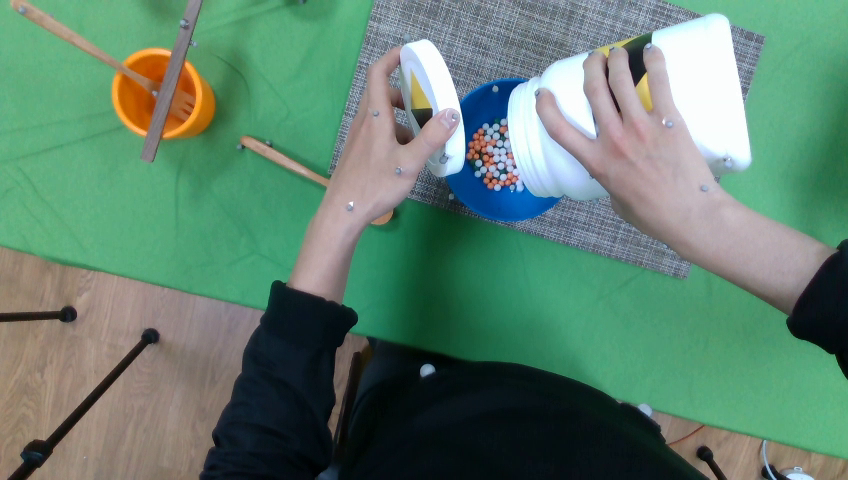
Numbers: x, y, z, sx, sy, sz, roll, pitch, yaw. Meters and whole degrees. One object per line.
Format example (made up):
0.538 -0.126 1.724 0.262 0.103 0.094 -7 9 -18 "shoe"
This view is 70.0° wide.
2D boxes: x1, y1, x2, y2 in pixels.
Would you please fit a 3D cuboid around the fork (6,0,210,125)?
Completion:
-0.307 -0.177 0.609 0.028 0.018 0.209 -53 139 4 "fork"

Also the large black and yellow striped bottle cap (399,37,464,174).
0.004 -0.114 0.520 0.019 0.114 0.115 -17 96 -13 "large black and yellow striped bottle cap"

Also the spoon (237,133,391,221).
-0.125 -0.077 0.694 0.194 0.021 0.042 27 108 -6 "spoon"

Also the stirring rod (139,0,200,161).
-0.256 -0.165 0.610 0.014 0.006 0.176 18 95 -7 "stirring rod"

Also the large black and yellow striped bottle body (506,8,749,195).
0.177 -0.112 0.535 0.183 0.131 0.131 -10 97 28 "large black and yellow striped bottle body"

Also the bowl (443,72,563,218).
0.087 -0.101 0.672 0.151 0.076 0.151 0 96 -3 "bowl"
